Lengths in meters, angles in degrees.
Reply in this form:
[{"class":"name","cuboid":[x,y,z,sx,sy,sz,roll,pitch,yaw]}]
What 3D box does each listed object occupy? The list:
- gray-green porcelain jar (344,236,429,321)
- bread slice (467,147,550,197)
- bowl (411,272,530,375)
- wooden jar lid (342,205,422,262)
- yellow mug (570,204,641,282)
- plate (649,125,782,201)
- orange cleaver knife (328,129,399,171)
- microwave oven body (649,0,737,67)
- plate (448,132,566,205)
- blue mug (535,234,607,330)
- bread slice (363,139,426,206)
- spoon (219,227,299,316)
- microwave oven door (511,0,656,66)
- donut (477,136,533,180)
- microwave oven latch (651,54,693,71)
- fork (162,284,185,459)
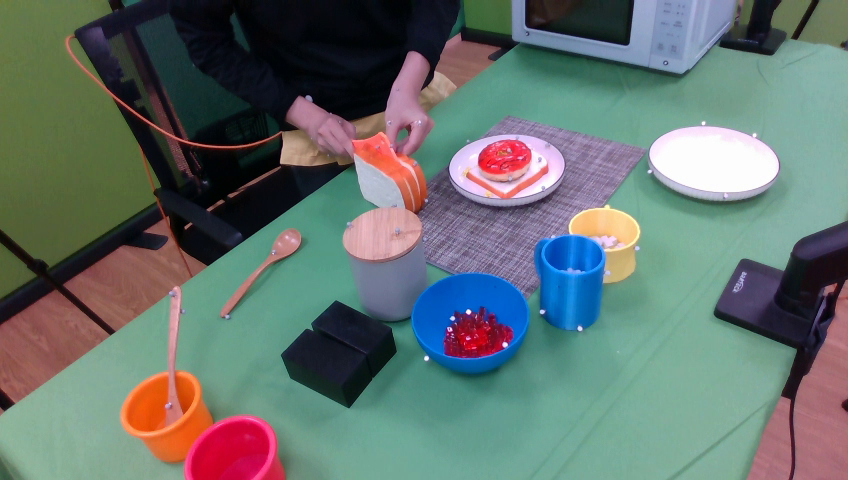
[{"class":"gray-green porcelain jar","cuboid":[-0.049,0.042,0.849,0.106,0.127,0.105,-4,41,4]},{"class":"bread slice","cuboid":[0.157,-0.128,1.084,0.132,0.019,0.104,-35,48,-24]},{"class":"bowl","cuboid":[0.061,0.120,0.780,0.151,0.077,0.150,-4,40,4]},{"class":"wooden jar lid","cuboid":[-0.055,-0.005,0.808,0.108,0.021,0.108,-6,41,6]},{"class":"yellow mug","cuboid":[0.268,-0.005,0.904,0.099,0.064,0.130,7,41,15]},{"class":"plate","cuboid":[0.493,-0.127,1.036,0.207,0.039,0.206,-4,41,4]},{"class":"orange cleaver knife","cuboid":[-0.111,-0.158,1.078,0.012,0.077,0.209,-30,24,-30]},{"class":"microwave oven body","cuboid":[0.475,-0.602,1.411,0.438,0.261,0.327,23,50,32]},{"class":"plate","cuboid":[0.147,-0.124,1.075,0.209,0.038,0.208,-4,41,4]},{"class":"blue mug","cuboid":[0.191,0.048,0.824,0.082,0.106,0.115,-26,44,-20]},{"class":"bread slice","cuboid":[-0.051,-0.111,1.051,0.133,0.107,0.018,27,51,31]},{"class":"spoon","cuboid":[-0.261,0.046,0.953,0.041,0.021,0.194,27,48,10]},{"class":"microwave oven door","cuboid":[0.351,-0.539,1.349,0.353,0.245,0.039,24,50,31]},{"class":"donut","cuboid":[0.141,-0.145,1.058,0.099,0.048,0.098,-6,41,6]},{"class":"microwave oven latch","cuboid":[0.532,-0.386,1.301,0.078,0.029,0.030,26,51,33]},{"class":"fork","cuboid":[-0.303,0.157,0.732,0.028,0.019,0.207,-3,84,13]}]
